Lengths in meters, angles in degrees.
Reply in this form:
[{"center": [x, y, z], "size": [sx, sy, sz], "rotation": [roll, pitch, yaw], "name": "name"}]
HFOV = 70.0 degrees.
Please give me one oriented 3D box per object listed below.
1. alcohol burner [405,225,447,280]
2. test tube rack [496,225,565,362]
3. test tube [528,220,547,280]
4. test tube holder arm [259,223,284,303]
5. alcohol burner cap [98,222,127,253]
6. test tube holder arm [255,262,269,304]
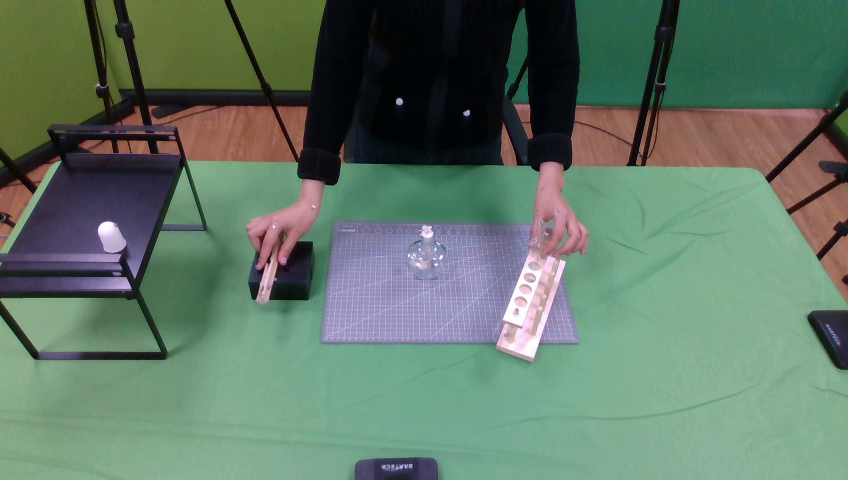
[{"center": [0.004, 0.017, 1.115], "size": [0.078, 0.120, 0.077], "rotation": [1, 47, -1], "name": "alcohol burner"}, {"center": [0.200, 0.089, 1.080], "size": [0.066, 0.085, 0.241], "rotation": [19, 48, 13], "name": "test tube rack"}, {"center": [0.200, 0.022, 1.076], "size": [0.017, 0.151, 0.017], "rotation": [-1, 47, 1], "name": "test tube"}, {"center": [-0.267, 0.037, 1.070], "size": [0.013, 0.015, 0.177], "rotation": [-20, 42, 21], "name": "test tube holder arm"}, {"center": [-0.468, -0.007, 0.904], "size": [0.034, 0.048, 0.033], "rotation": [3, 46, -3], "name": "alcohol burner cap"}, {"center": [-0.274, 0.072, 1.041], "size": [0.010, 0.015, 0.087], "rotation": [-19, 42, 22], "name": "test tube holder arm"}]
